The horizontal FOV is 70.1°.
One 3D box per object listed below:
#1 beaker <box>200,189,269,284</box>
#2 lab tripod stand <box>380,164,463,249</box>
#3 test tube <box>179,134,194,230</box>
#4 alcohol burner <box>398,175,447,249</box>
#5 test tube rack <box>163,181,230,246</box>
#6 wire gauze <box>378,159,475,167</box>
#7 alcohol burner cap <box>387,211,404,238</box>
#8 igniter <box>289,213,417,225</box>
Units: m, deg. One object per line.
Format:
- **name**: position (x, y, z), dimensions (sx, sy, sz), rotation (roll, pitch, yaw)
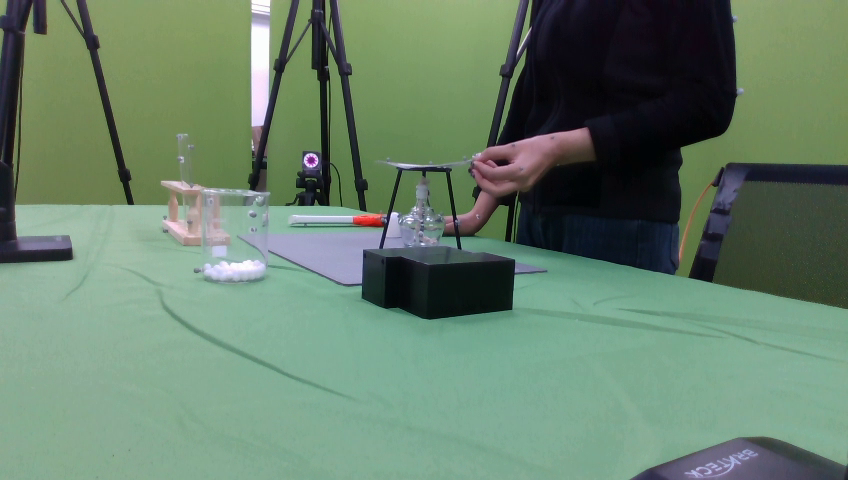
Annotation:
- **beaker**: position (-0.209, -0.006, 0.676), dimensions (0.073, 0.100, 0.084), rotation (7, 8, 28)
- **lab tripod stand**: position (-0.003, -0.055, 0.967), dimensions (0.148, 0.131, 0.148), rotation (2, 9, 0)
- **test tube**: position (-0.366, -0.089, 0.938), dimensions (0.017, 0.150, 0.017), rotation (-1, 9, 1)
- **alcohol burner**: position (-0.002, -0.046, 0.973), dimensions (0.078, 0.119, 0.078), rotation (0, 7, 0)
- **test tube rack**: position (-0.387, -0.050, 1.015), dimensions (0.067, 0.085, 0.241), rotation (-2, 9, -30)
- **wire gauze**: position (-0.001, -0.121, 0.950), dimensions (0.122, 0.011, 0.124), rotation (-4, 8, -29)
- **alcohol burner cap**: position (-0.053, -0.029, 1.107), dimensions (0.034, 0.048, 0.034), rotation (2, 9, 0)
- **igniter**: position (-0.144, -0.044, 1.275), dimensions (0.278, 0.025, 0.057), rotation (-1, -2, -27)
